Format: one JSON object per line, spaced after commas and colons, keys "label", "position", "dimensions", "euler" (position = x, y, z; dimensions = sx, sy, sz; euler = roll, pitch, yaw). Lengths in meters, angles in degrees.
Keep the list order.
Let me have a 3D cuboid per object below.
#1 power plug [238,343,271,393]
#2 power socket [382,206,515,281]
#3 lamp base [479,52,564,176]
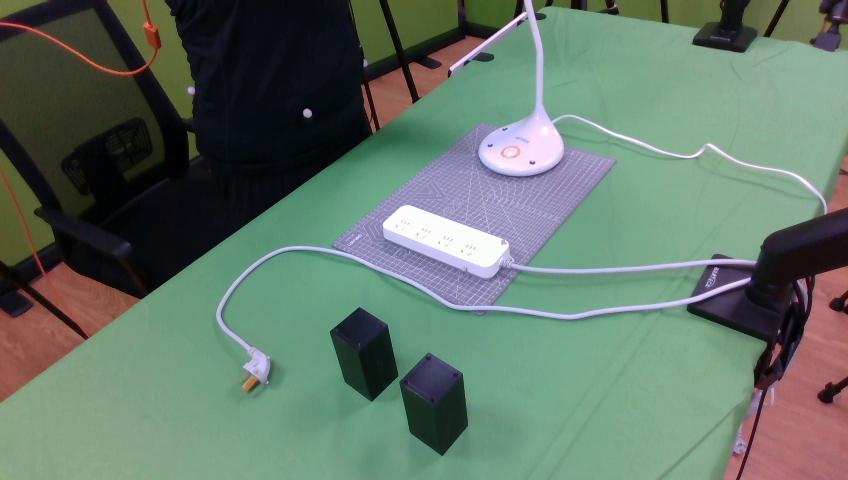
{"label": "power plug", "position": [-0.230, 0.172, 0.801], "dimensions": [0.072, 0.035, 0.053], "euler": [9, 51, 50]}
{"label": "power socket", "position": [0.032, 0.002, 0.950], "dimensions": [0.225, 0.033, 0.072], "euler": [21, 49, 29]}
{"label": "lamp base", "position": [0.181, -0.235, 1.094], "dimensions": [0.159, 0.181, 0.179], "euler": [18, 44, 27]}
